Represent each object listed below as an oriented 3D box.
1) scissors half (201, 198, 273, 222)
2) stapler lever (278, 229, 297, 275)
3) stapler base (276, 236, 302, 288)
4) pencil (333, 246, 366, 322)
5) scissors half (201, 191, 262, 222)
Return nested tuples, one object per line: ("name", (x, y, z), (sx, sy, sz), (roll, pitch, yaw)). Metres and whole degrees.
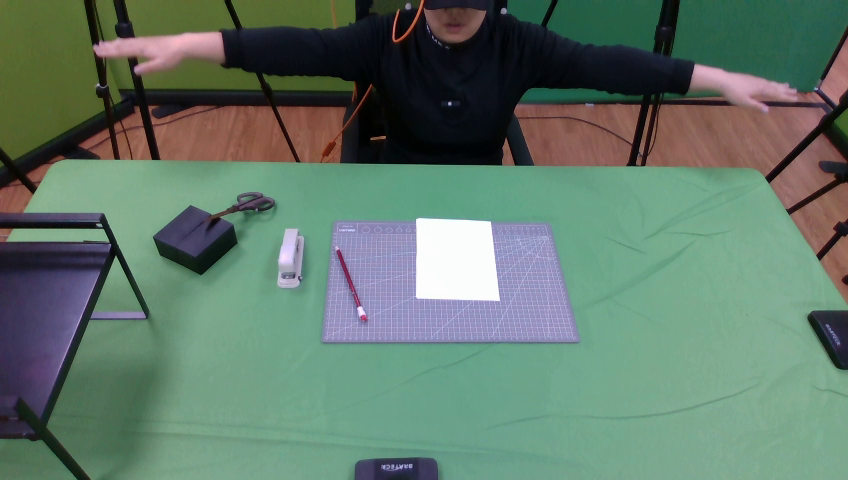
("scissors half", (-0.365, -0.055, 1.192), (0.040, 0.013, 0.175), (39, 32, 22))
("stapler lever", (-0.254, 0.016, 1.128), (0.027, 0.040, 0.117), (1, 45, -7))
("stapler base", (-0.254, 0.034, 1.144), (0.041, 0.024, 0.129), (1, 44, -7))
("pencil", (-0.140, 0.076, 1.117), (0.012, 0.012, 0.192), (-14, 48, -17))
("scissors half", (-0.381, -0.066, 1.198), (0.040, 0.013, 0.175), (25, 28, 9))
